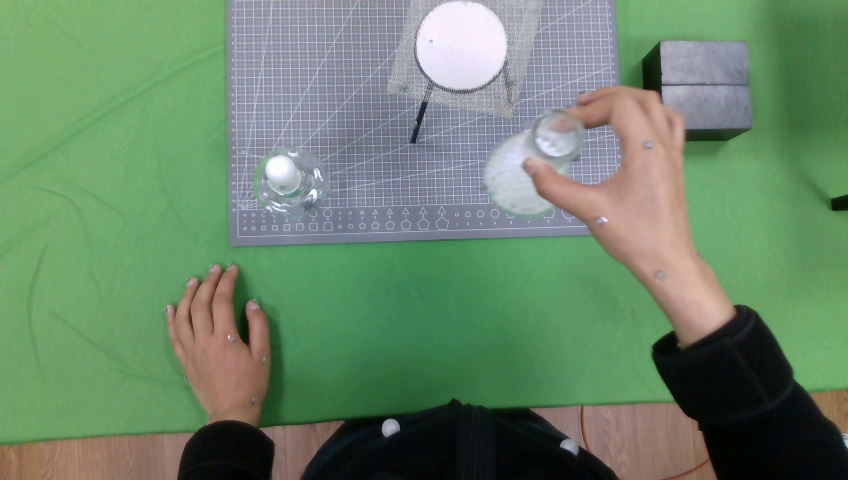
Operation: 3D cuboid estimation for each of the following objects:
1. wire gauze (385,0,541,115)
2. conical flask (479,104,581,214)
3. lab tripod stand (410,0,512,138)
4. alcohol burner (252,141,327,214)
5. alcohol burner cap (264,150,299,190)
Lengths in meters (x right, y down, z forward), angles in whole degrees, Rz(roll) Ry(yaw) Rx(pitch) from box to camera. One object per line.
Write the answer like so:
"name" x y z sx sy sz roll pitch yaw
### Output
"wire gauze" 0.038 -0.187 0.563 0.121 0.011 0.125 15 84 -2
"conical flask" 0.086 -0.066 0.468 0.075 0.122 0.075 0 83 -2
"lab tripod stand" 0.028 -0.182 0.630 0.148 0.131 0.148 0 85 -1
"alcohol burner" -0.141 -0.067 0.620 0.078 0.119 0.078 0 86 -2
"alcohol burner cap" -0.140 -0.070 0.585 0.034 0.048 0.033 1 80 -6
